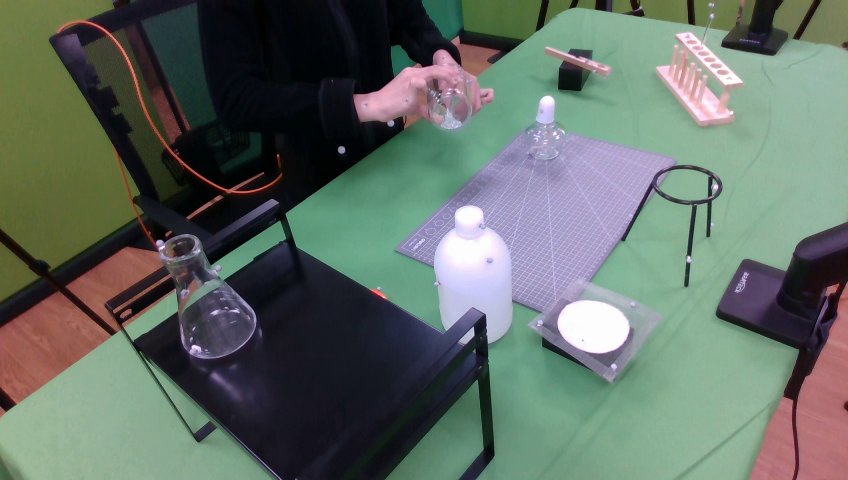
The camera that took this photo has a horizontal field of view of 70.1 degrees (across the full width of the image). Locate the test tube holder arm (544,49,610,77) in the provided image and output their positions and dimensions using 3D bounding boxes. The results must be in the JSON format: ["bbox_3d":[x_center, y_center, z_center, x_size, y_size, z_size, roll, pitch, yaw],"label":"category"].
[{"bbox_3d":[0.329,-0.386,1.314,0.013,0.015,0.177,-25,43,-32],"label":"test tube holder arm"}]

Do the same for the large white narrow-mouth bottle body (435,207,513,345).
[{"bbox_3d":[0.065,0.041,0.791,0.102,0.195,0.101,-4,41,4],"label":"large white narrow-mouth bottle body"}]

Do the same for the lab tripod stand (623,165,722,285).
[{"bbox_3d":[0.365,-0.030,0.875,0.148,0.132,0.147,-6,41,6],"label":"lab tripod stand"}]

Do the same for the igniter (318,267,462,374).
[{"bbox_3d":[-0.059,0.107,0.862,0.274,0.025,0.057,28,62,34],"label":"igniter"}]

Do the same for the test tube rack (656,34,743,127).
[{"bbox_3d":[0.553,-0.330,1.233,0.067,0.085,0.241,-7,40,2],"label":"test tube rack"}]

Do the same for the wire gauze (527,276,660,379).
[{"bbox_3d":[0.213,0.103,0.763,0.124,0.011,0.122,30,52,35],"label":"wire gauze"}]

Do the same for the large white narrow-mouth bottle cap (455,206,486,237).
[{"bbox_3d":[0.056,-0.023,0.734,0.038,0.024,0.037,-4,40,4],"label":"large white narrow-mouth bottle cap"}]

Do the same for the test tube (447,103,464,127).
[{"bbox_3d":[0.059,-0.225,1.099,0.017,0.017,0.150,0,0,9],"label":"test tube"}]

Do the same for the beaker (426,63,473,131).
[{"bbox_3d":[0.041,-0.224,0.966,0.074,0.084,0.100,-5,38,4],"label":"beaker"}]

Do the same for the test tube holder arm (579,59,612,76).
[{"bbox_3d":[0.362,-0.368,1.289,0.010,0.015,0.087,-25,43,-32],"label":"test tube holder arm"}]

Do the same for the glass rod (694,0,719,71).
[{"bbox_3d":[0.560,-0.401,1.214,0.008,0.200,0.008,-1,48,2],"label":"glass rod"}]

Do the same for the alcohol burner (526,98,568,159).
[{"bbox_3d":[0.228,-0.210,1.118,0.078,0.119,0.077,-5,43,5],"label":"alcohol burner"}]

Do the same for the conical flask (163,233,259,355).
[{"bbox_3d":[-0.216,0.051,0.601,0.075,0.122,0.075,-5,40,4],"label":"conical flask"}]

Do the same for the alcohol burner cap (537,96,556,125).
[{"bbox_3d":[0.223,-0.237,1.095,0.034,0.048,0.033,0,43,1],"label":"alcohol burner cap"}]
